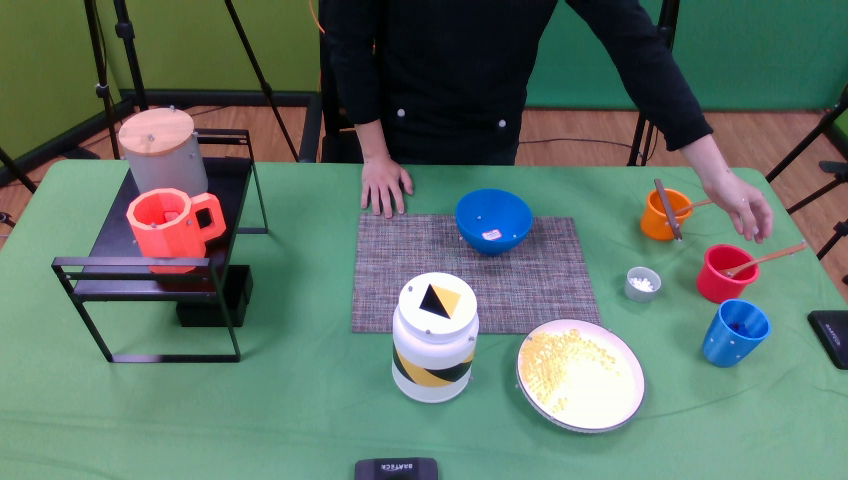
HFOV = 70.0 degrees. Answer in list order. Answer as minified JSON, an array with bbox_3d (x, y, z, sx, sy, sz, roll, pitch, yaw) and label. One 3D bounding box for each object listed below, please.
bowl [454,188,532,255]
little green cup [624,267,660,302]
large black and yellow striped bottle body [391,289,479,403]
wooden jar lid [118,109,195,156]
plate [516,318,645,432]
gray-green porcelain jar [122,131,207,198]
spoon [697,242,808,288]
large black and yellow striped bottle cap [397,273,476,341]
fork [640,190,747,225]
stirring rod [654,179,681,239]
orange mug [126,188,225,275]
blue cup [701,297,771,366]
[{"bbox_3d":[0.131,-0.025,1.186,0.151,0.077,0.150,3,45,-2],"label":"bowl"},{"bbox_3d":[0.405,0.084,1.135,0.061,0.039,0.061,3,45,-3],"label":"little green cup"},{"bbox_3d":[0.015,0.153,0.938,0.131,0.185,0.130,2,46,-2],"label":"large black and yellow striped bottle body"},{"bbox_3d":[-0.400,-0.159,0.910,0.108,0.021,0.107,2,47,-2],"label":"wooden jar lid"},{"bbox_3d":[0.253,0.221,0.992,0.209,0.038,0.208,2,46,-2],"label":"plate"},{"bbox_3d":[-0.404,-0.115,0.955,0.106,0.127,0.105,3,46,-3],"label":"gray-green porcelain jar"},{"bbox_3d":[0.602,0.045,1.116,0.194,0.022,0.041,-29,34,30],"label":"spoon"},{"bbox_3d":[0.019,0.094,0.878,0.115,0.019,0.114,3,46,-3],"label":"large black and yellow striped bottle cap"},{"bbox_3d":[0.533,-0.064,1.211,0.207,0.019,0.028,-22,28,39],"label":"fork"},{"bbox_3d":[0.483,-0.065,1.204,0.014,0.006,0.175,3,46,0],"label":"stirring rod"},{"bbox_3d":[-0.357,-0.020,0.885,0.126,0.101,0.083,-29,54,-23],"label":"orange mug"},{"bbox_3d":[0.519,0.162,1.025,0.093,0.101,0.092,3,45,-3],"label":"blue cup"}]
